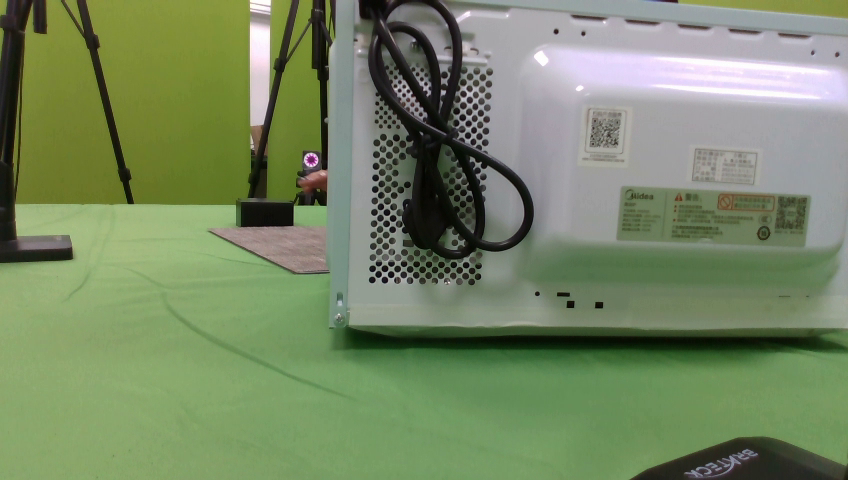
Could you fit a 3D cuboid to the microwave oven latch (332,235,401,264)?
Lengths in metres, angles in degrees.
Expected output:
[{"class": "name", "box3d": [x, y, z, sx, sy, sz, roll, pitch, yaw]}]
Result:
[{"class": "microwave oven latch", "box3d": [-0.066, 0.010, 0.700, 0.079, 0.029, 0.030, 2, 7, -8]}]

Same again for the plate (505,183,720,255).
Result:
[{"class": "plate", "box3d": [0.184, -0.023, 0.616, 0.209, 0.038, 0.209, 4, 14, -1]}]

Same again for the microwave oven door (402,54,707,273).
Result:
[{"class": "microwave oven door", "box3d": [0.157, -0.085, 0.717, 0.357, 0.243, 0.039, 1, 7, -8]}]

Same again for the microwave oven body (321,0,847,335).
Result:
[{"class": "microwave oven body", "box3d": [0.133, -0.062, 0.568, 0.443, 0.260, 0.325, 2, 7, -8]}]

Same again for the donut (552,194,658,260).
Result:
[{"class": "donut", "box3d": [0.171, -0.015, 0.575, 0.099, 0.048, 0.099, -10, 15, 3]}]
